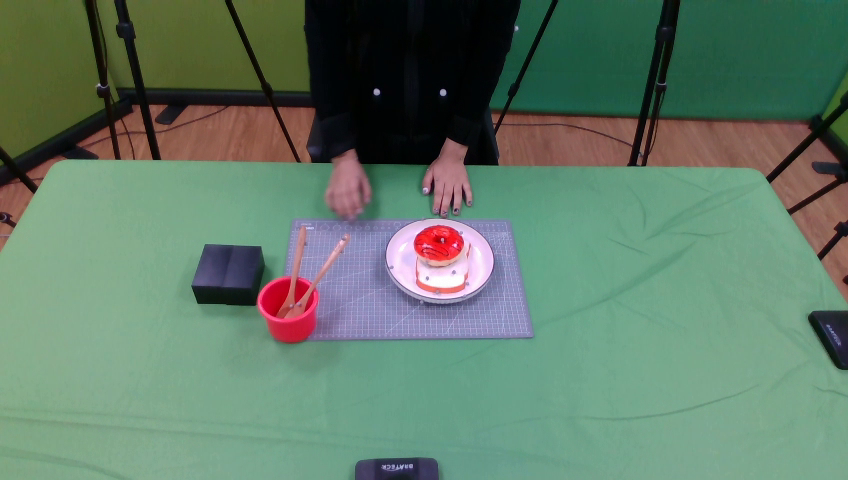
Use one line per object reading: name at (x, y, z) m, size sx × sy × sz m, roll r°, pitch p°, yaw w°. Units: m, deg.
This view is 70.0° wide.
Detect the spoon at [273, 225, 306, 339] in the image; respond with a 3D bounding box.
spoon at (-0.220, 0.070, 1.026) m, size 0.041 × 0.021 × 0.193 m, roll 10°, pitch 91°, yaw -1°

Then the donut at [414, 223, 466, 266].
donut at (0.030, 0.007, 1.140) m, size 0.099 × 0.048 × 0.098 m, roll 0°, pitch 42°, yaw 0°

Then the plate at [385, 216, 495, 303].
plate at (0.030, 0.040, 1.145) m, size 0.209 × 0.038 × 0.208 m, roll 2°, pitch 46°, yaw -2°

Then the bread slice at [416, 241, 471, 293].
bread slice at (0.037, 0.046, 1.144) m, size 0.105 × 0.019 × 0.131 m, roll 4°, pitch 45°, yaw 2°

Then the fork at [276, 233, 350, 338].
fork at (-0.184, 0.075, 1.014) m, size 0.028 × 0.018 × 0.207 m, roll 35°, pitch 95°, yaw 13°
